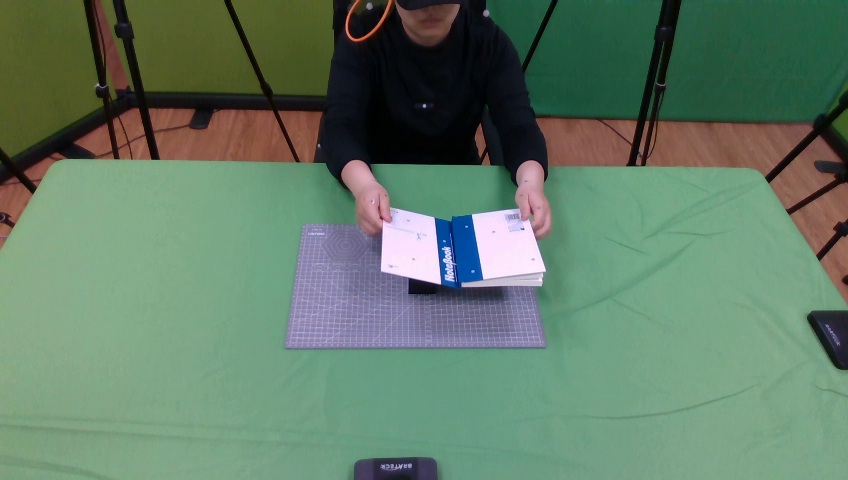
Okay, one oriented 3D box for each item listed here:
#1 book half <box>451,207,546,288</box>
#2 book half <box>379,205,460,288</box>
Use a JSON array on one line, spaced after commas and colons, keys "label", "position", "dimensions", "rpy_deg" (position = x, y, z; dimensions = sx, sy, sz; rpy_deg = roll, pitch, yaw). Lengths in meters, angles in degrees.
[{"label": "book half", "position": [0.129, 0.007, 1.106], "dimensions": [0.148, 0.016, 0.209], "rpy_deg": [-8, 34, 3]}, {"label": "book half", "position": [-0.009, 0.008, 1.100], "dimensions": [0.143, 0.007, 0.209], "rpy_deg": [13, 34, -12]}]
